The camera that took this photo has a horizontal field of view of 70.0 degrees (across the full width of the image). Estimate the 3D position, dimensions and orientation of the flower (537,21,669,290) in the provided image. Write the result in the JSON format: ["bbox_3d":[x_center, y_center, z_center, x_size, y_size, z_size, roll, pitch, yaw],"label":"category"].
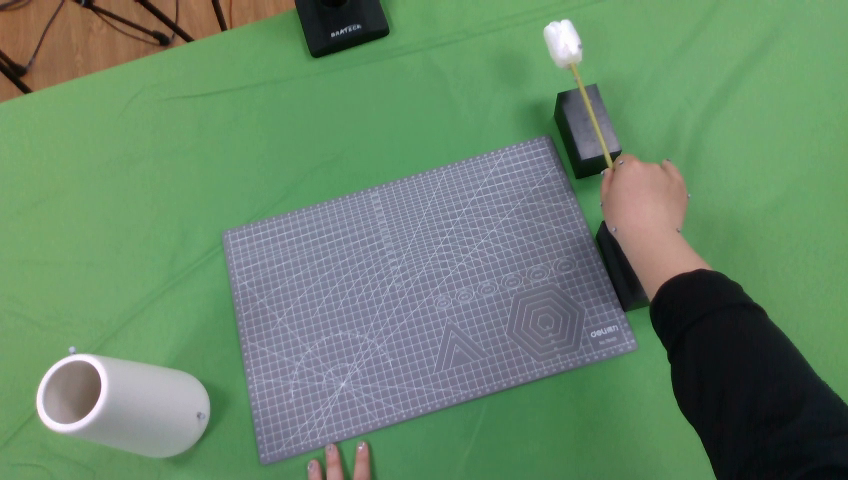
[{"bbox_3d":[0.198,-0.107,0.676,0.044,0.038,0.358,5,58,-36],"label":"flower"}]

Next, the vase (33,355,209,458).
[{"bbox_3d":[-0.302,0.171,0.626,0.098,0.201,0.097,-1,68,4],"label":"vase"}]
